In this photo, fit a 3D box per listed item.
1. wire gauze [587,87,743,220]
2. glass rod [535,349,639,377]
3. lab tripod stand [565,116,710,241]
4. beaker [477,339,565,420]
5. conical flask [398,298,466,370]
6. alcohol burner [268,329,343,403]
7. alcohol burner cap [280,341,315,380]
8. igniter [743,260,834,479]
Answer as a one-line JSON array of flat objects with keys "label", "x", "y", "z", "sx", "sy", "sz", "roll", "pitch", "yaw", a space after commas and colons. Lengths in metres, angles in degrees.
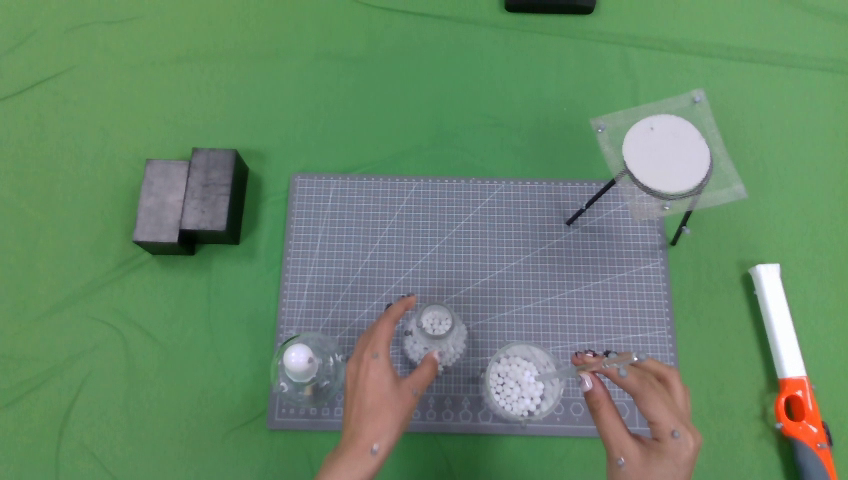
[{"label": "wire gauze", "x": 0.242, "y": -0.087, "z": 0.607, "sx": 0.125, "sy": 0.011, "sz": 0.120, "roll": -14, "pitch": 75, "yaw": -5}, {"label": "glass rod", "x": 0.119, "y": 0.098, "z": 0.470, "sx": 0.008, "sy": 0.200, "sz": 0.008, "roll": 2, "pitch": 74, "yaw": -7}, {"label": "lab tripod stand", "x": 0.239, "y": -0.063, "z": 0.670, "sx": 0.148, "sy": 0.132, "sz": 0.147, "roll": 0, "pitch": 74, "yaw": -1}, {"label": "beaker", "x": 0.095, "y": 0.145, "z": 0.622, "sx": 0.084, "sy": 0.101, "sz": 0.073, "roll": -17, "pitch": 74, "yaw": -6}, {"label": "conical flask", "x": 0.009, "y": 0.091, "z": 0.625, "sx": 0.075, "sy": 0.122, "sz": 0.075, "roll": 0, "pitch": 72, "yaw": 0}, {"label": "alcohol burner", "x": -0.124, "y": 0.126, "z": 0.617, "sx": 0.078, "sy": 0.120, "sz": 0.077, "roll": 1, "pitch": 71, "yaw": -2}, {"label": "alcohol burner cap", "x": -0.123, "y": 0.113, "z": 0.583, "sx": 0.034, "sy": 0.048, "sz": 0.033, "roll": 3, "pitch": 65, "yaw": -6}, {"label": "igniter", "x": 0.398, "y": 0.156, "z": 0.661, "sx": 0.057, "sy": 0.025, "sz": 0.275, "roll": -2, "pitch": 73, "yaw": -12}]
